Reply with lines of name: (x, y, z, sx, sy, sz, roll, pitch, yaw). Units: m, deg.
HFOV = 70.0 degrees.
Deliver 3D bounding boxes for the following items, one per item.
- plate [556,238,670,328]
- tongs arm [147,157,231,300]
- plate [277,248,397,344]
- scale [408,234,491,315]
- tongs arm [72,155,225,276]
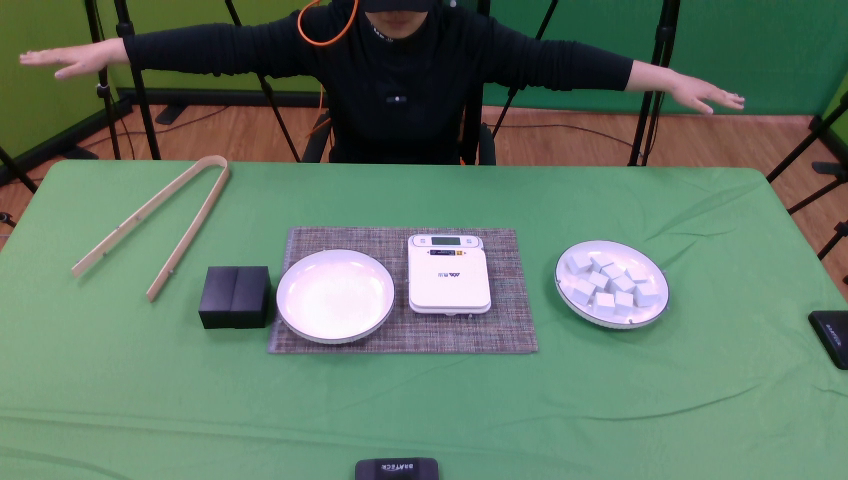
plate: (0.347, 0.083, 1.130, 0.209, 0.038, 0.208, 2, 47, -2)
tongs arm: (-0.453, -0.036, 1.193, 0.028, 0.028, 0.385, 6, 46, 6)
plate: (-0.152, 0.101, 1.073, 0.208, 0.039, 0.206, 2, 46, -2)
scale: (0.045, 0.055, 1.135, 0.149, 0.032, 0.199, 1, 46, -3)
tongs arm: (-0.531, -0.058, 1.204, 0.050, 0.026, 0.383, 18, 47, 13)
